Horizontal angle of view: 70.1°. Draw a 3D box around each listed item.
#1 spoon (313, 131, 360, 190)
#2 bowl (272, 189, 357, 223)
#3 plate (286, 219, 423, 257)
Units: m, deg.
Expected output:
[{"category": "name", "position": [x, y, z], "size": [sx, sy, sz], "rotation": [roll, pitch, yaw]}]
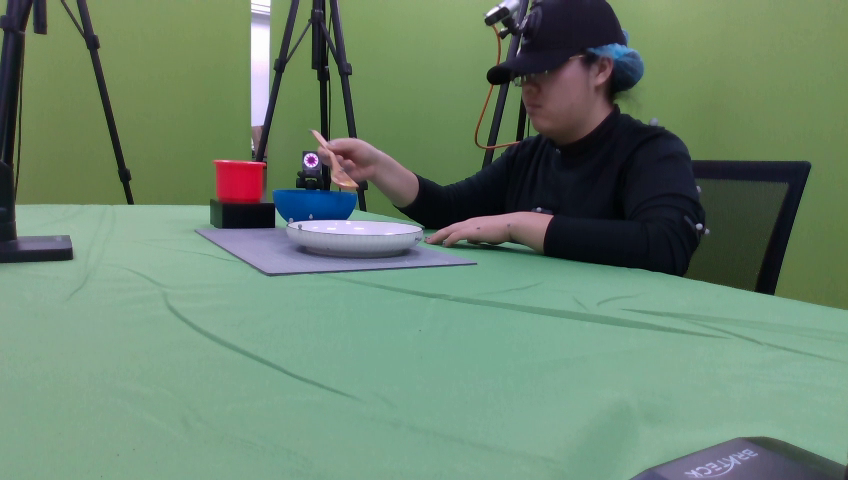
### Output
[{"category": "spoon", "position": [-0.157, -0.141, 1.047], "size": [0.042, 0.021, 0.193], "rotation": [0, 41, -32]}, {"category": "bowl", "position": [-0.196, -0.049, 1.082], "size": [0.151, 0.077, 0.151], "rotation": [2, 7, 0]}, {"category": "plate", "position": [-0.105, -0.003, 0.922], "size": [0.208, 0.039, 0.207], "rotation": [3, 7, 0]}]
